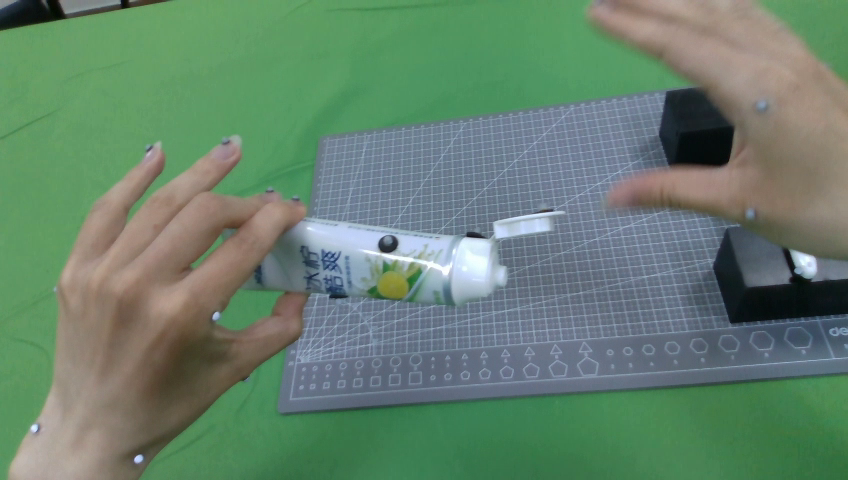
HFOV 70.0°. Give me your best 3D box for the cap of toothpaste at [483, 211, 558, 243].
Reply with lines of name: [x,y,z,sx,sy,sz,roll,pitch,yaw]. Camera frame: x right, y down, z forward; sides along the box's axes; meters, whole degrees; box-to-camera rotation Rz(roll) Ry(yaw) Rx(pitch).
cap of toothpaste: [0.046,-0.006,0.290,0.037,0.037,0.011,-10,84,6]

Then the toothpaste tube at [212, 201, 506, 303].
toothpaste tube: [-0.038,0.008,0.319,0.164,0.055,0.034,4,22,19]

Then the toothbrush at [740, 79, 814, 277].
toothbrush: [0.257,-0.053,0.442,0.014,0.017,0.180,5,57,1]
